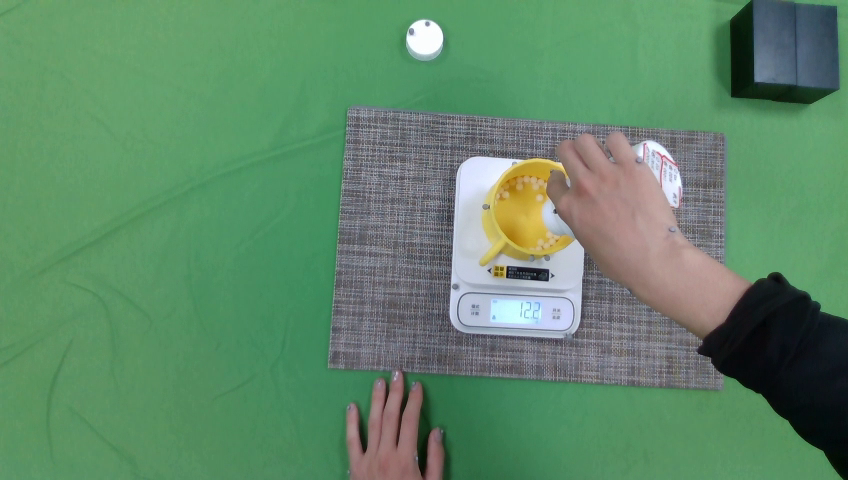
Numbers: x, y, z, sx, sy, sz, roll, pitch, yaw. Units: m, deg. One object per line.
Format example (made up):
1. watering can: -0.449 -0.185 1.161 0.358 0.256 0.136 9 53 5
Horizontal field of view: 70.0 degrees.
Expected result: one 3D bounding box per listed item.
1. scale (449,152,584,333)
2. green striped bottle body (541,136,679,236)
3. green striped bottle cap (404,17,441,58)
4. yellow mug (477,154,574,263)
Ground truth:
1. scale: 0.106 0.003 0.685 0.149 0.031 0.200 3 84 -2
2. green striped bottle body: 0.163 -0.043 0.554 0.063 0.119 0.063 15 65 -34
3. green striped bottle cap: -0.001 -0.240 0.718 0.044 0.020 0.044 0 87 -2
4. yellow mug: 0.103 -0.023 0.640 0.100 0.064 0.131 44 85 2
